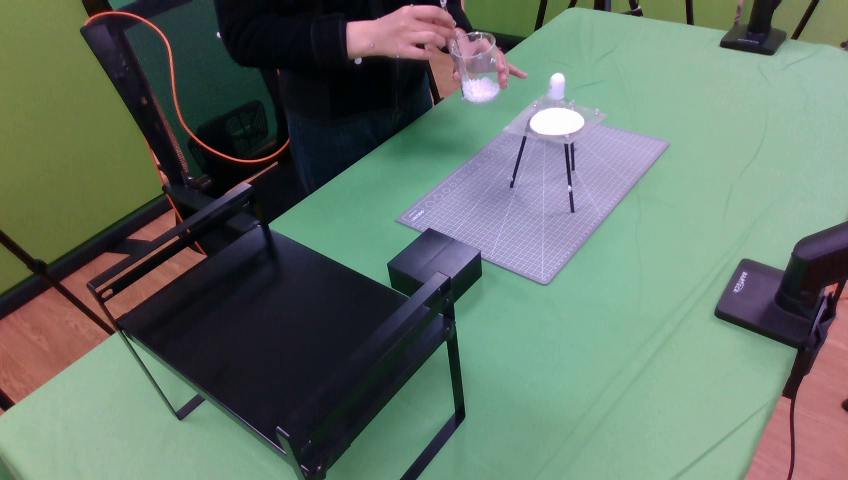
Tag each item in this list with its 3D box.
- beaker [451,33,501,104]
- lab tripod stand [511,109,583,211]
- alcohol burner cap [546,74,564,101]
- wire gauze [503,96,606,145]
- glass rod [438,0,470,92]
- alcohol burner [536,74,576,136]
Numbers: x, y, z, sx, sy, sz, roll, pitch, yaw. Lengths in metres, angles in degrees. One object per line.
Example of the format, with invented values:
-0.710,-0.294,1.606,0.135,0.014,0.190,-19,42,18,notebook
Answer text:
0.093,-0.294,1.042,0.073,0.101,0.084,9,53,23,beaker
0.220,-0.138,1.014,0.148,0.132,0.147,-3,41,3,lab tripod stand
0.251,-0.293,1.152,0.034,0.048,0.033,-1,43,2,alcohol burner cap
0.211,-0.192,0.975,0.120,0.011,0.125,24,49,32,wire gauze
0.050,-0.326,1.000,0.008,0.201,0.008,-11,50,14,glass rod
0.255,-0.265,1.173,0.078,0.119,0.077,-6,40,6,alcohol burner
